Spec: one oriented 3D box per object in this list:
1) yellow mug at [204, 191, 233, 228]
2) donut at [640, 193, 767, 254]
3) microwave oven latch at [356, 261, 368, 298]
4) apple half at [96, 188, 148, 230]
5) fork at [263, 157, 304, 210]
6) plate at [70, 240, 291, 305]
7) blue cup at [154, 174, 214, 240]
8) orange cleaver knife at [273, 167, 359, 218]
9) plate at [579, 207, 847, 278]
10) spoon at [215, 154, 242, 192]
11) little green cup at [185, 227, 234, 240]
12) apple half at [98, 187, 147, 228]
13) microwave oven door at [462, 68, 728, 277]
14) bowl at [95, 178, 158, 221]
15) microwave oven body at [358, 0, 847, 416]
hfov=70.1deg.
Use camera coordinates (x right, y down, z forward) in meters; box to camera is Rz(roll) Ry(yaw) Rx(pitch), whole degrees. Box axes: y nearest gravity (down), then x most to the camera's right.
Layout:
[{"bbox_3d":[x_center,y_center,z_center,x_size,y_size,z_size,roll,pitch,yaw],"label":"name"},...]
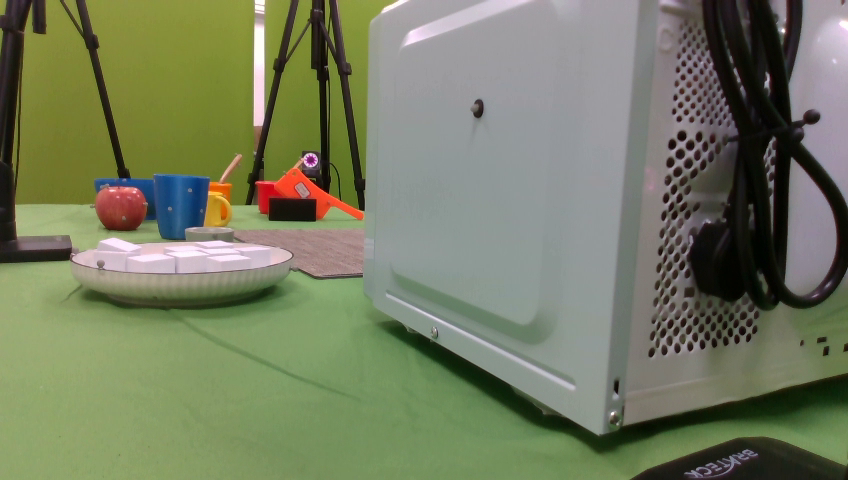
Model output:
[{"bbox_3d":[-0.415,-0.057,1.132,0.130,0.064,0.100,6,8,16],"label":"yellow mug"},{"bbox_3d":[0.235,-0.013,0.514,0.099,0.048,0.099,9,1,0],"label":"donut"},{"bbox_3d":[-0.019,0.033,0.529,0.079,0.029,0.030,0,7,-24],"label":"microwave oven latch"},{"bbox_3d":[-0.517,-0.052,1.036,0.081,0.074,0.053,2,10,-26],"label":"apple half"},{"bbox_3d":[-0.345,-0.143,1.505,0.028,0.019,0.207,-3,46,28],"label":"fork"},{"bbox_3d":[-0.242,0.031,0.618,0.208,0.039,0.207,2,8,0],"label":"plate"},{"bbox_3d":[-0.391,-0.053,0.978,0.093,0.100,0.092,3,6,0],"label":"blue cup"},{"bbox_3d":[-0.238,-0.091,1.381,0.212,0.077,0.012,31,0,-19],"label":"orange cleaver knife"},{"bbox_3d":[0.236,-0.001,0.511,0.209,0.038,0.209,1,9,0],"label":"plate"},{"bbox_3d":[-0.439,-0.124,1.318,0.041,0.193,0.022,6,-36,15],"label":"spoon"},{"bbox_3d":[-0.285,0.005,0.805,0.061,0.038,0.061,2,8,0],"label":"little green cup"},{"bbox_3d":[-0.534,-0.059,1.071,0.082,0.081,0.032,-1,11,-25],"label":"apple half"},{"bbox_3d":[0.205,-0.095,0.812,0.354,0.243,0.039,9,11,40],"label":"microwave oven door"},{"bbox_3d":[-0.576,-0.081,1.217,0.151,0.077,0.151,3,8,0],"label":"bowl"},{"bbox_3d":[0.211,-0.047,0.474,0.444,0.260,0.324,-1,7,-28],"label":"microwave oven body"}]
